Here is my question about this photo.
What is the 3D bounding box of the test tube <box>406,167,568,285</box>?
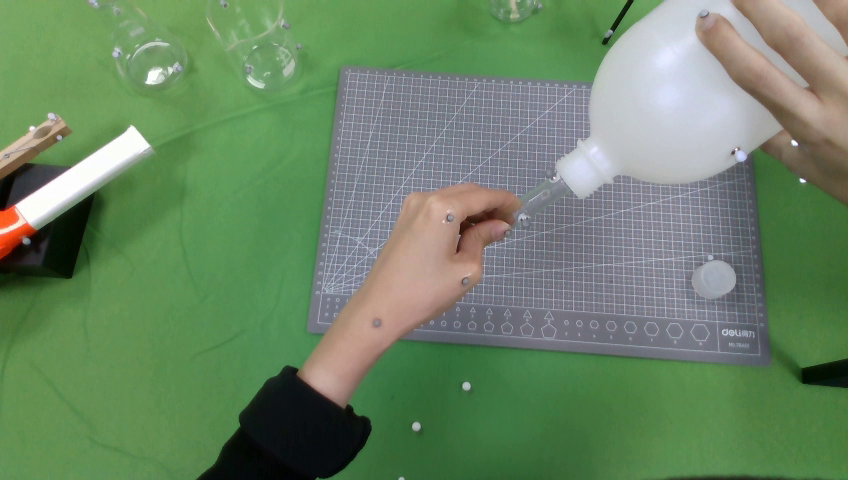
[{"bbox_3d":[0.040,-0.006,0.429,0.150,0.017,0.017,-36,71,32],"label":"test tube"}]

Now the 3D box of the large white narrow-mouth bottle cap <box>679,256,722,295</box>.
[{"bbox_3d":[0.274,0.035,0.599,0.038,0.024,0.037,0,74,0],"label":"large white narrow-mouth bottle cap"}]

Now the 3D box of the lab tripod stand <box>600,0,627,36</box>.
[{"bbox_3d":[0.266,-0.285,0.639,0.148,0.132,0.147,1,72,-2],"label":"lab tripod stand"}]

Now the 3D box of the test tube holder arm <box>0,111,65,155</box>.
[{"bbox_3d":[-0.421,-0.064,0.573,0.178,0.015,0.013,-40,77,-12],"label":"test tube holder arm"}]

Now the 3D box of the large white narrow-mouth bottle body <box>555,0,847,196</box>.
[{"bbox_3d":[0.161,-0.096,0.351,0.195,0.102,0.101,-40,75,18],"label":"large white narrow-mouth bottle body"}]

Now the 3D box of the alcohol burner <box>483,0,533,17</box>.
[{"bbox_3d":[0.097,-0.299,0.652,0.078,0.120,0.077,1,71,-2],"label":"alcohol burner"}]

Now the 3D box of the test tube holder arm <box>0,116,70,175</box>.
[{"bbox_3d":[-0.383,-0.088,0.581,0.088,0.015,0.010,-39,77,-12],"label":"test tube holder arm"}]

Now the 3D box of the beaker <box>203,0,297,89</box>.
[{"bbox_3d":[-0.176,-0.209,0.628,0.074,0.101,0.083,19,74,6],"label":"beaker"}]

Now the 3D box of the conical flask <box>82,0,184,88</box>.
[{"bbox_3d":[-0.302,-0.217,0.616,0.075,0.122,0.075,0,72,0],"label":"conical flask"}]

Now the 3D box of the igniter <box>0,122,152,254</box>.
[{"bbox_3d":[-0.379,-0.018,0.557,0.276,0.025,0.057,-40,79,-15],"label":"igniter"}]
